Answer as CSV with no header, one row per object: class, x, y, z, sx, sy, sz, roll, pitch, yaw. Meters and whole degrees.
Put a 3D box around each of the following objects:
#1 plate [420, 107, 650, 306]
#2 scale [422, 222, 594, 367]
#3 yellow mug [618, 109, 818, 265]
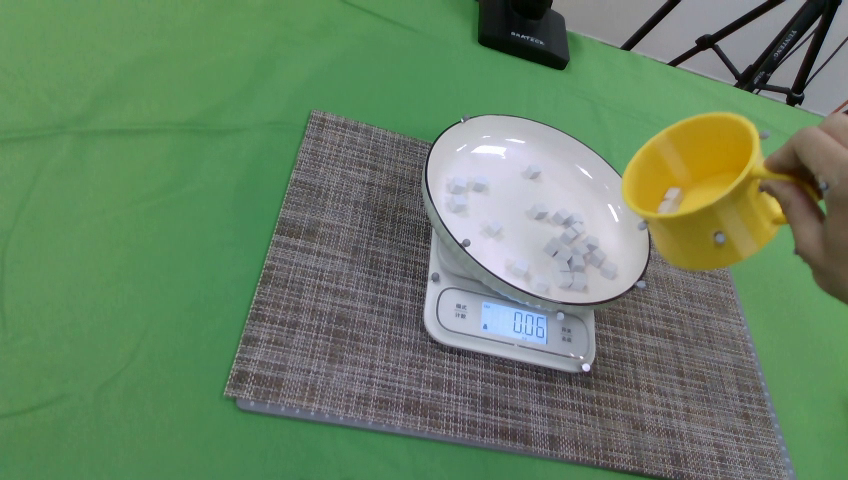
plate,0.093,-0.030,0.524,0.210,0.038,0.207,11,51,-13
scale,0.078,0.007,0.533,0.149,0.032,0.199,14,51,-10
yellow mug,0.217,-0.039,0.445,0.064,0.130,0.099,43,71,-32
